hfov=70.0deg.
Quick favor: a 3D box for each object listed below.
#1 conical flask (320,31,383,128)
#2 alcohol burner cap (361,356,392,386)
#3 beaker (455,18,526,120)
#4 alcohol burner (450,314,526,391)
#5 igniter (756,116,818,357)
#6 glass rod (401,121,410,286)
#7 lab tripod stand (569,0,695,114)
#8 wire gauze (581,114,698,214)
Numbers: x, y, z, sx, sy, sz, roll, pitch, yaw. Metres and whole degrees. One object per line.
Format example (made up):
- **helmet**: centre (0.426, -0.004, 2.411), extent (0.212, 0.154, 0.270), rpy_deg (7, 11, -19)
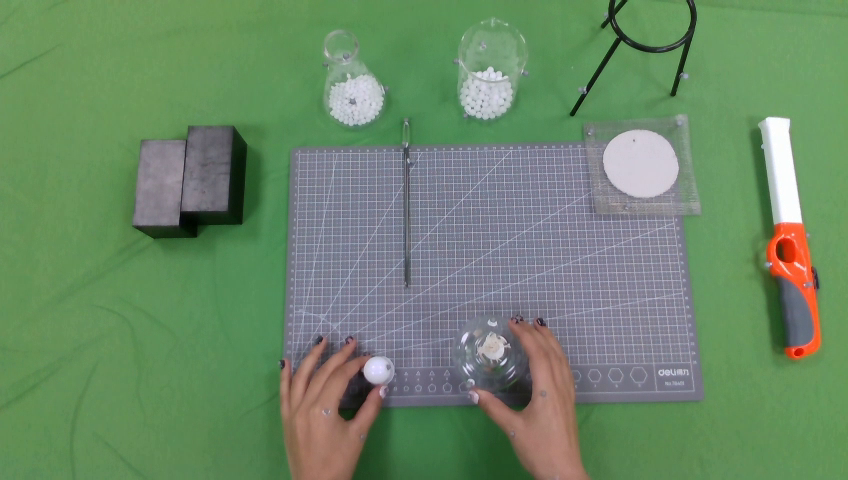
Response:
- **conical flask**: centre (-0.087, -0.182, 0.675), extent (0.075, 0.122, 0.075), rpy_deg (0, 75, 1)
- **alcohol burner cap**: centre (-0.051, 0.136, 0.635), extent (0.034, 0.048, 0.033), rpy_deg (0, 75, -1)
- **beaker**: centre (0.071, -0.189, 0.688), extent (0.074, 0.101, 0.083), rpy_deg (1, 75, 1)
- **alcohol burner**: centre (0.065, 0.111, 0.604), extent (0.078, 0.119, 0.077), rpy_deg (0, 78, 1)
- **igniter**: centre (0.405, -0.008, 0.679), extent (0.057, 0.025, 0.275), rpy_deg (3, 76, -9)
- **glass rod**: centre (-0.021, -0.045, 0.695), extent (0.008, 0.008, 0.198), rpy_deg (-2, 76, 0)
- **lab tripod stand**: centre (0.229, -0.213, 0.676), extent (0.148, 0.132, 0.147), rpy_deg (0, 78, 0)
- **wire gauze**: centre (0.251, -0.087, 0.707), extent (0.125, 0.011, 0.121), rpy_deg (-2, 76, 0)
